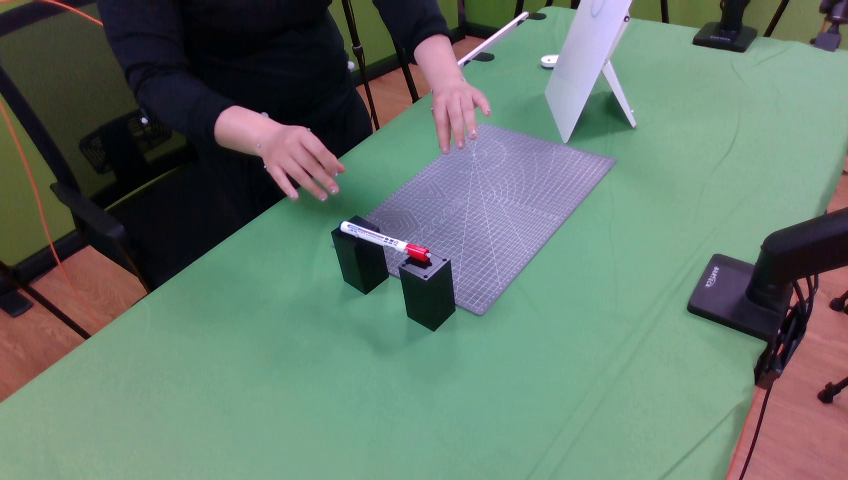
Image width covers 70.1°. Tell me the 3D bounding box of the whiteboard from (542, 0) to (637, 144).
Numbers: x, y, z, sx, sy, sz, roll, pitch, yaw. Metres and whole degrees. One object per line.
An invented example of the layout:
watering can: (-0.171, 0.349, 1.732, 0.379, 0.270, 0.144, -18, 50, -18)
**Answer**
whiteboard: (0.366, -0.351, 1.160, 0.144, 0.305, 0.216, 10, 39, -10)

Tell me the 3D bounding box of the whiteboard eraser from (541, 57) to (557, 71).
whiteboard eraser: (0.323, -0.412, 1.407, 0.101, 0.019, 0.041, 1, 42, 11)

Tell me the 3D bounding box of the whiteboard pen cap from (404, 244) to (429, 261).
whiteboard pen cap: (-0.010, 0.015, 0.801, 0.032, 0.017, 0.017, 17, 46, 29)

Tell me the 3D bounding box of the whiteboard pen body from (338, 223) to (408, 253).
whiteboard pen body: (-0.061, -0.001, 0.828, 0.139, 0.017, 0.017, 17, 46, 29)
